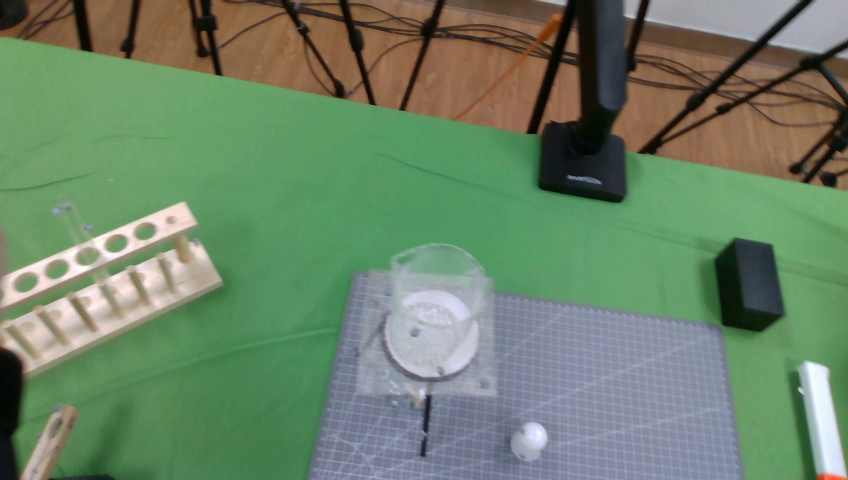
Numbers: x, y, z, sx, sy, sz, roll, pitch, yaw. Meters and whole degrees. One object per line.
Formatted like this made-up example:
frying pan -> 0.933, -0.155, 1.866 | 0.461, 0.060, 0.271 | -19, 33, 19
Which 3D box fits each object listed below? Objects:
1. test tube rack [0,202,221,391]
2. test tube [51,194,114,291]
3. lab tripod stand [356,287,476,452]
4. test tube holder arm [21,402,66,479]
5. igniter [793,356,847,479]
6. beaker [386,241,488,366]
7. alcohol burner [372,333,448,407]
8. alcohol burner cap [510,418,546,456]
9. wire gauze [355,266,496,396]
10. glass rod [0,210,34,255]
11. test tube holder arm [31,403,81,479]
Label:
test tube rack -> -0.345, 0.056, 0.628 | 0.242, 0.086, 0.066 | -28, 65, -22
test tube -> -0.335, 0.008, 0.601 | 0.017, 0.151, 0.017 | 4, 53, -5
lab tripod stand -> -0.001, 0.120, 0.599 | 0.149, 0.132, 0.147 | 4, 58, -6
test tube holder arm -> -0.339, 0.223, 0.505 | 0.013, 0.015, 0.177 | 10, 56, -1
igniter -> 0.427, 0.253, 0.634 | 0.057, 0.025, 0.274 | 17, 57, -9
beaker -> 0.003, 0.056, 0.504 | 0.083, 0.101, 0.074 | 31, 59, 12
alcohol burner -> -0.012, 0.123, 0.607 | 0.078, 0.120, 0.077 | 4, 56, -6
alcohol burner cap -> 0.108, 0.199, 0.617 | 0.034, 0.048, 0.033 | 2, 60, -3
wire gauze -> 0.003, 0.081, 0.547 | 0.121, 0.011, 0.124 | 3, 61, -3
glass rod -> -0.362, -0.042, 0.489 | 0.008, 0.201, 0.008 | 3, 57, -5
test tube holder arm -> -0.327, 0.187, 0.530 | 0.010, 0.015, 0.087 | 11, 56, 0
